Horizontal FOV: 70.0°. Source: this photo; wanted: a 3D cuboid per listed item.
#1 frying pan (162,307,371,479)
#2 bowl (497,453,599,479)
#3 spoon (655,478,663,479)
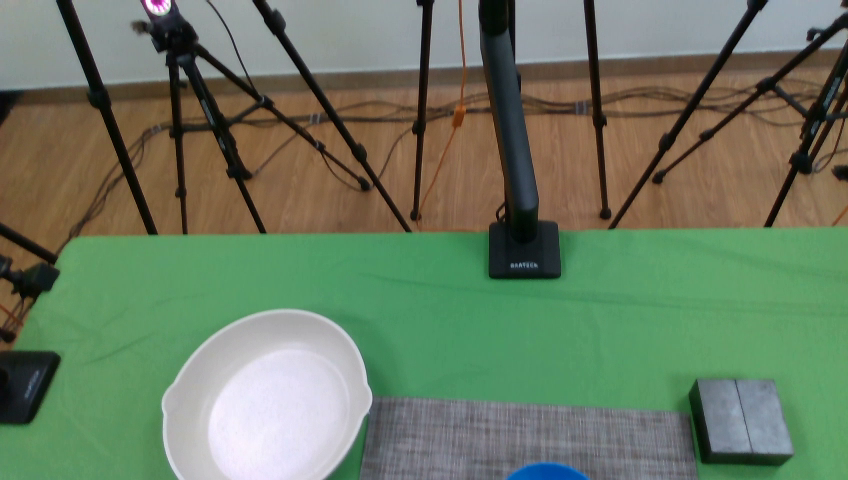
[{"bbox_3d":[-0.231,0.311,0.811,0.306,0.104,0.483,-1,45,8],"label":"frying pan"},{"bbox_3d":[0.153,0.347,0.741,0.151,0.077,0.150,-4,54,5],"label":"bowl"},{"bbox_3d":[0.197,0.330,0.708,0.194,0.022,0.041,-33,49,7],"label":"spoon"}]
